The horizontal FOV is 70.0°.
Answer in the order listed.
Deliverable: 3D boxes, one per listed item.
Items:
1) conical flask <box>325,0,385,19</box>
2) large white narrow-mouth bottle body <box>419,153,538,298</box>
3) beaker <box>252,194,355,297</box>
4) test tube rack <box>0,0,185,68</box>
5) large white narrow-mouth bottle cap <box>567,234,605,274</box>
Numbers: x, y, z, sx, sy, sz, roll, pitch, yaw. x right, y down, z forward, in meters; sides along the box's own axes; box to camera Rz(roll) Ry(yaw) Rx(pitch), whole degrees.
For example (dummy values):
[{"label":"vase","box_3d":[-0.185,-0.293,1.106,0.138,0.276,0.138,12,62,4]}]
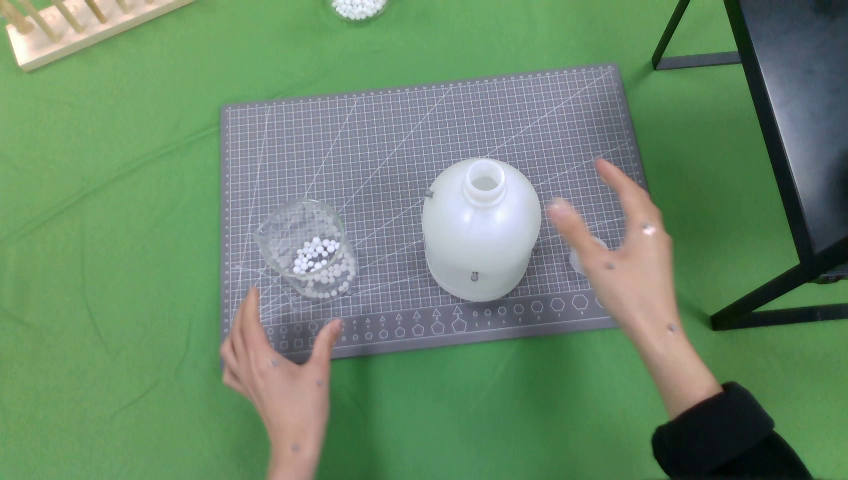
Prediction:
[{"label":"conical flask","box_3d":[-0.084,-0.313,0.672,0.075,0.122,0.075,-1,71,2]},{"label":"large white narrow-mouth bottle body","box_3d":[0.047,-0.018,0.529,0.102,0.196,0.101,-1,71,4]},{"label":"beaker","box_3d":[-0.109,0.010,0.574,0.084,0.101,0.073,4,71,4]},{"label":"test tube rack","box_3d":[-0.379,-0.295,0.694,0.242,0.086,0.066,-26,72,-7]},{"label":"large white narrow-mouth bottle cap","box_3d":[0.162,0.015,0.606,0.038,0.024,0.037,-1,72,3]}]
